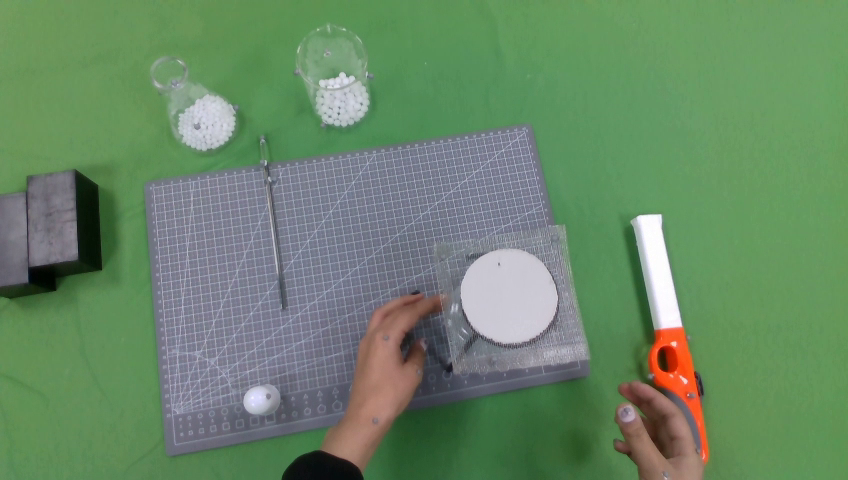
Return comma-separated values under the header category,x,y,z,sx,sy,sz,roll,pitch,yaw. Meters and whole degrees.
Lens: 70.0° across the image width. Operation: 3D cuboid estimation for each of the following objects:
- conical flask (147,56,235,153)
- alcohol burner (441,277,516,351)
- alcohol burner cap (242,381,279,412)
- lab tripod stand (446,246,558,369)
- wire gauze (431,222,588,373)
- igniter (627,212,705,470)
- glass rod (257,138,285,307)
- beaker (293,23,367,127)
category,x,y,z,sx,sy,sz,roll,pitch,yaw
conical flask,-0.255,-0.149,0.649,0.075,0.122,0.075,1,76,-2
alcohol burner,0.056,0.072,0.611,0.078,0.119,0.077,0,77,0
alcohol burner cap,-0.169,0.160,0.617,0.034,0.048,0.033,1,76,-3
lab tripod stand,0.072,0.068,0.602,0.148,0.132,0.147,1,78,-2
wire gauze,0.075,0.050,0.537,0.125,0.011,0.121,-7,78,-3
igniter,0.262,0.104,0.659,0.057,0.025,0.275,-3,77,-14
glass rod,-0.172,-0.023,0.677,0.008,0.008,0.198,-10,77,-5
beaker,-0.101,-0.179,0.675,0.074,0.100,0.083,-7,76,-4
